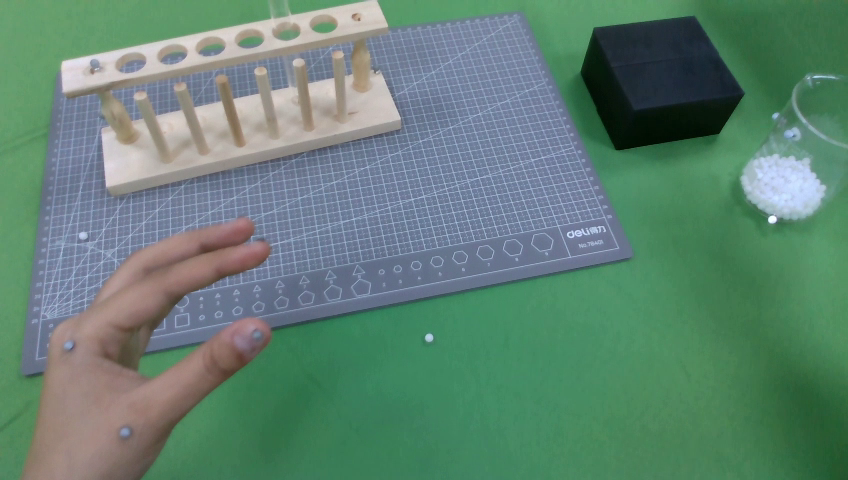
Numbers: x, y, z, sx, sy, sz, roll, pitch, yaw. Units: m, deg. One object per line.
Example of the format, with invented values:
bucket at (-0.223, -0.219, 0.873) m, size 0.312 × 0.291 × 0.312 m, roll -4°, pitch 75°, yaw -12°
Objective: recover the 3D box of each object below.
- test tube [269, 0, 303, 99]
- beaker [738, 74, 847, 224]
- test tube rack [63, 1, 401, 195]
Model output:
test tube at (-0.108, -0.169, 0.467) m, size 0.017 × 0.151 × 0.017 m, roll -1°, pitch 54°, yaw 1°
beaker at (0.300, -0.068, 0.474) m, size 0.074 × 0.101 × 0.083 m, roll -9°, pitch 58°, yaw -7°
test tube rack at (-0.143, -0.115, 0.491) m, size 0.243 × 0.086 × 0.066 m, roll -15°, pitch 60°, yaw -11°
